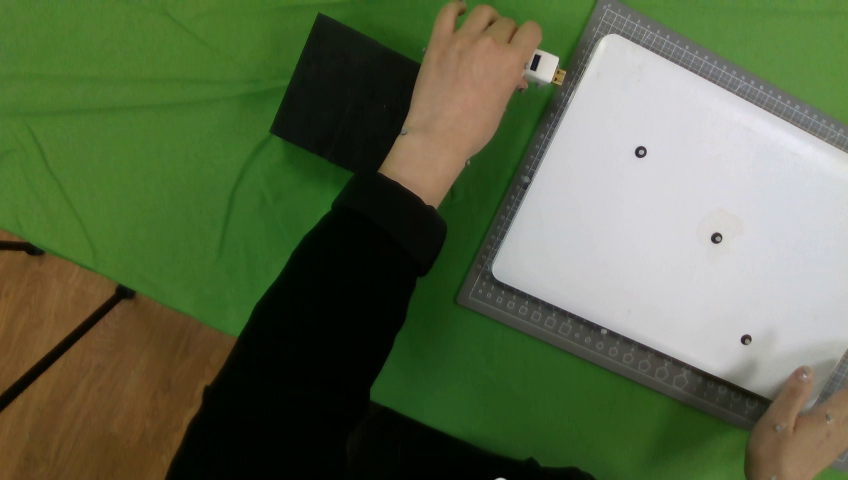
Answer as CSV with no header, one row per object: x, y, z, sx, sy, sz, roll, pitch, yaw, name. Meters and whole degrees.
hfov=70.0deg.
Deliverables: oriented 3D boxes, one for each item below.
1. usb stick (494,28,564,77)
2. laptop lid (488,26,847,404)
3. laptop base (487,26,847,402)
0.088,-0.148,0.485,0.059,0.027,0.021,19,101,-17,usb stick
0.261,-0.008,0.551,0.358,0.013,0.242,25,100,-9,laptop lid
0.261,-0.012,0.562,0.355,0.023,0.236,24,102,-9,laptop base
